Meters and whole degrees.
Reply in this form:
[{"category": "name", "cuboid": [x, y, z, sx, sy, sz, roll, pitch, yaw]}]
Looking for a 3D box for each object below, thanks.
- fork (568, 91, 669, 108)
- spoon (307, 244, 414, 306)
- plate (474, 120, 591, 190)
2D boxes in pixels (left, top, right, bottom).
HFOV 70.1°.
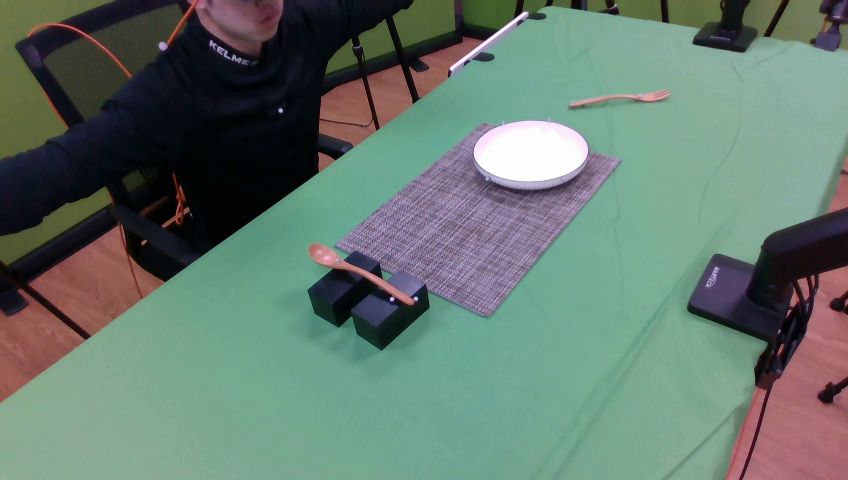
[{"category": "fork", "cuboid": [0.402, -0.290, 1.252, 0.207, 0.019, 0.028, -4, 47, 1]}, {"category": "spoon", "cuboid": [-0.091, 0.048, 0.848, 0.192, 0.021, 0.042, 22, 26, 30]}, {"category": "plate", "cuboid": [0.196, -0.151, 1.099, 0.207, 0.039, 0.206, -4, 40, 4]}]
